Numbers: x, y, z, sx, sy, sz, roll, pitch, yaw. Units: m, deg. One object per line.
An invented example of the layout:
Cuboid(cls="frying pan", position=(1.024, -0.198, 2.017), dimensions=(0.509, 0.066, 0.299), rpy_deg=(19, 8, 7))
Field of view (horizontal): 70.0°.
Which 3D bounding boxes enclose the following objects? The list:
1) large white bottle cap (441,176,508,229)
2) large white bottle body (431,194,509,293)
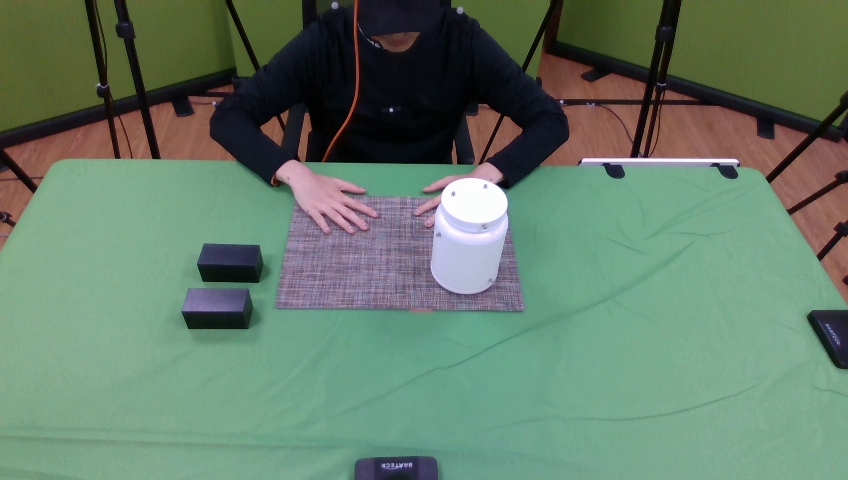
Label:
Cuboid(cls="large white bottle cap", position=(0.086, -0.065, 1.030), dimensions=(0.115, 0.018, 0.114), rpy_deg=(2, 47, -2))
Cuboid(cls="large white bottle body", position=(0.081, -0.007, 1.091), dimensions=(0.131, 0.185, 0.130), rpy_deg=(2, 47, -2))
